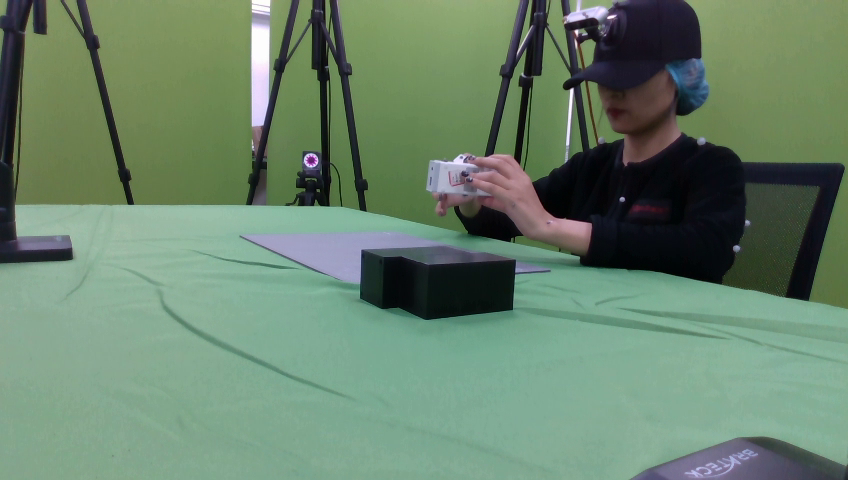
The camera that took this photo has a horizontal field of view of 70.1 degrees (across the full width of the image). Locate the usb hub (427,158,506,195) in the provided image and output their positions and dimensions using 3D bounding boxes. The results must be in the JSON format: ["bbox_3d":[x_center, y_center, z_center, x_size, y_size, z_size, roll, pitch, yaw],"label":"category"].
[{"bbox_3d":[0.067,-0.099,0.940,0.126,0.049,0.025,1,12,-27],"label":"usb hub"}]

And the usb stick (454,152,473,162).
[{"bbox_3d":[0.063,-0.121,0.977,0.027,0.059,0.021,41,65,16],"label":"usb stick"}]
